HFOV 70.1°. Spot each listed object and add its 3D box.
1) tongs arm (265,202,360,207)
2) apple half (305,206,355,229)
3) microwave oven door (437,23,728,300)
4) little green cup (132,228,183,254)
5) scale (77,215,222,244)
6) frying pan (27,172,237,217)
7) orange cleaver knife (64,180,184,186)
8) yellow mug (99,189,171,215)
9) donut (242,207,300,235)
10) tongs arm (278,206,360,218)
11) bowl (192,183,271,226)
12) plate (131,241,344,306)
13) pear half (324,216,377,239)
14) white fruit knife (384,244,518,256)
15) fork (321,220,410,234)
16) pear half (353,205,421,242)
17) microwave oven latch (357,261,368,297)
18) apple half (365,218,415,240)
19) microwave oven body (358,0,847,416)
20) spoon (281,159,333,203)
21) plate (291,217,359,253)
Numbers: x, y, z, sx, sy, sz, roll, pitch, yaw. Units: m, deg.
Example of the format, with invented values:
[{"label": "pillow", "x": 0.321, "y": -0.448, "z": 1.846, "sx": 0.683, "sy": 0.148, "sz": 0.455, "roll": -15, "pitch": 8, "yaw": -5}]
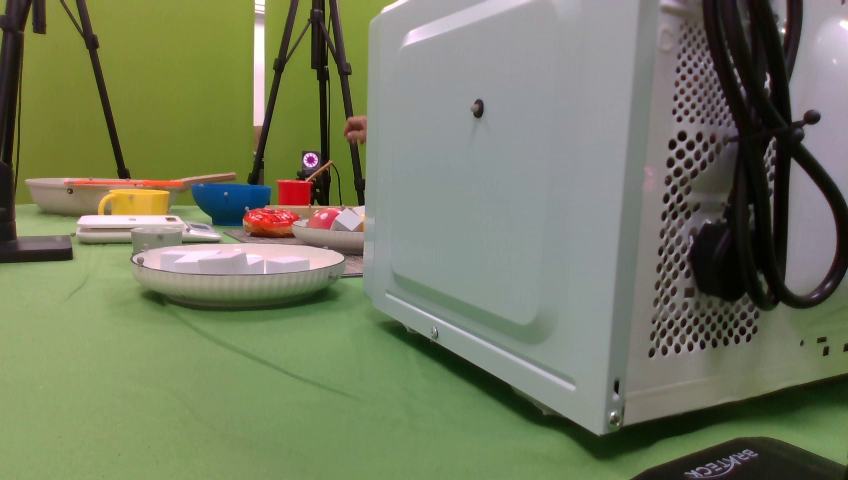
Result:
[{"label": "tongs arm", "x": -0.218, "y": -0.076, "z": 1.470, "sx": 0.389, "sy": 0.027, "sz": 0.028, "roll": 0, "pitch": 1, "yaw": -26}, {"label": "apple half", "x": -0.138, "y": -0.025, "z": 0.917, "sx": 0.081, "sy": 0.053, "sz": 0.074, "roll": 0, "pitch": 10, "yaw": -43}, {"label": "microwave oven door", "x": 0.180, "y": -0.072, "z": 0.621, "sx": 0.358, "sy": 0.243, "sz": 0.039, "roll": -2, "pitch": 8, "yaw": -29}, {"label": "little green cup", "x": -0.342, "y": 0.006, "z": 0.779, "sx": 0.061, "sy": 0.038, "sz": 0.061, "roll": 2, "pitch": 8, "yaw": 0}, {"label": "scale", "x": -0.434, "y": -0.019, "z": 0.963, "sx": 0.202, "sy": 0.031, "sz": 0.148, "roll": -1, "pitch": 9, "yaw": -27}, {"label": "frying pan", "x": -0.624, "y": -0.118, "z": 1.387, "sx": 0.305, "sy": 0.102, "sz": 0.490, "roll": 8, "pitch": 17, "yaw": 32}, {"label": "orange cleaver knife", "x": -0.595, "y": -0.114, "z": 1.212, "sx": 0.212, "sy": 0.012, "sz": 0.077, "roll": -4, "pitch": 6, "yaw": -41}, {"label": "yellow mug", "x": -0.518, "y": -0.055, "z": 1.080, "sx": 0.099, "sy": 0.064, "sz": 0.131, "roll": 7, "pitch": 9, "yaw": 26}, {"label": "donut", "x": -0.263, "y": -0.032, "z": 1.039, "sx": 0.099, "sy": 0.048, "sz": 0.099, "roll": 4, "pitch": 9, "yaw": 0}, {"label": "tongs arm", "x": -0.171, "y": -0.067, "z": 1.402, "sx": 0.387, "sy": 0.026, "sz": 0.050, "roll": -3, "pitch": 6, "yaw": -40}, {"label": "bowl", "x": -0.382, "y": -0.071, "z": 1.202, "sx": 0.151, "sy": 0.077, "sz": 0.151, "roll": 3, "pitch": 7, "yaw": 0}, {"label": "plate", "x": -0.187, "y": 0.033, "z": 0.625, "sx": 0.208, "sy": 0.039, "sz": 0.207, "roll": 2, "pitch": 7, "yaw": 0}, {"label": "pear half", "x": -0.119, "y": -0.023, "z": 0.996, "sx": 0.088, "sy": 0.031, "sz": 0.070, "roll": -4, "pitch": 23, "yaw": -27}, {"label": "white fruit knife", "x": 0.041, "y": 0.016, "z": 0.878, "sx": 0.208, "sy": 0.016, "sz": 0.027, "roll": -2, "pitch": -2, "yaw": -24}, {"label": "fork", "x": -0.104, "y": -0.025, "z": 1.131, "sx": 0.208, "sy": 0.028, "sz": 0.018, "roll": -1, "pitch": 34, "yaw": -41}, {"label": "pear half", "x": -0.051, "y": -0.024, "z": 0.905, "sx": 0.110, "sy": 0.056, "sz": 0.076, "roll": 2, "pitch": -2, "yaw": -38}, {"label": "microwave oven latch", "x": -0.019, "y": 0.033, "z": 0.531, "sx": 0.079, "sy": 0.029, "sz": 0.030, "roll": -1, "pitch": 7, "yaw": -27}, {"label": "apple half", "x": -0.054, "y": -0.019, "z": 0.967, "sx": 0.081, "sy": 0.033, "sz": 0.081, "roll": -4, "pitch": 8, "yaw": 1}, {"label": "microwave oven body", "x": 0.211, "y": -0.047, "z": 0.475, "sx": 0.444, "sy": 0.260, "sz": 0.324, "roll": -1, "pitch": 7, "yaw": -28}, {"label": "spoon", "x": -0.316, "y": -0.159, "z": 1.640, "sx": 0.194, "sy": 0.022, "sz": 0.041, "roll": -50, "pitch": 32, "yaw": -20}, {"label": "plate", "x": -0.103, "y": -0.009, "z": 0.945, "sx": 0.209, "sy": 0.038, "sz": 0.209, "roll": 2, "pitch": 7, "yaw": 0}]
